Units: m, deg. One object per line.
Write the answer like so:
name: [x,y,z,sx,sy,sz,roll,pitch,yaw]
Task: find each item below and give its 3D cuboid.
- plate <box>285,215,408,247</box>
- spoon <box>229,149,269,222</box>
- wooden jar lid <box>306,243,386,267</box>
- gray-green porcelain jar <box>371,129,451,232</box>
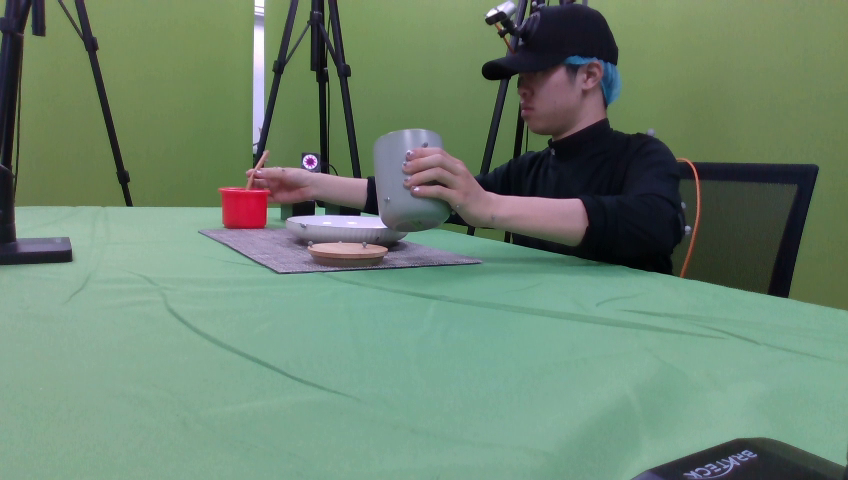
plate: [-0.127,-0.015,1.012,0.208,0.039,0.207,3,7,0]
spoon: [-0.346,-0.112,1.208,0.022,0.193,0.041,32,-36,-30]
wooden jar lid: [-0.105,0.020,0.816,0.108,0.020,0.108,1,7,0]
gray-green porcelain jar: [-0.018,-0.081,0.871,0.106,0.126,0.106,-7,-14,-1]
